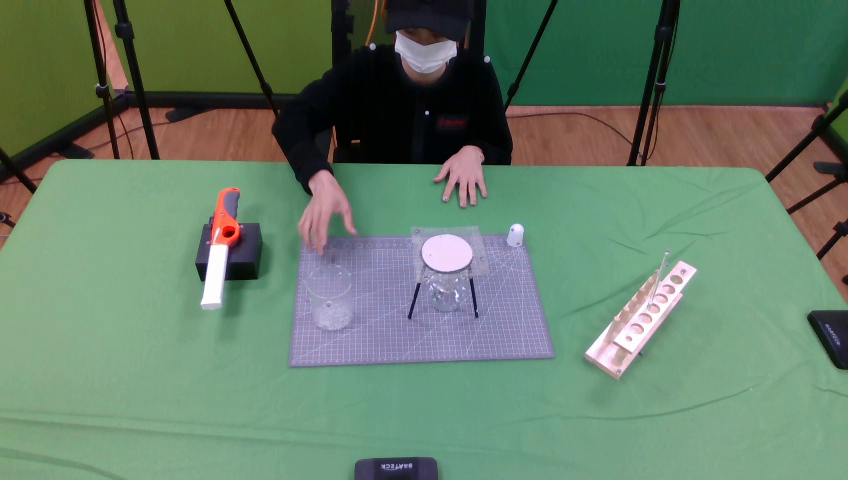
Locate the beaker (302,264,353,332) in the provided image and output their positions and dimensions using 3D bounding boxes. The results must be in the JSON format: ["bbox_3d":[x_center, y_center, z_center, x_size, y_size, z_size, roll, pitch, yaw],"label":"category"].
[{"bbox_3d":[-0.162,0.101,1.030,0.084,0.101,0.073,4,46,0],"label":"beaker"}]

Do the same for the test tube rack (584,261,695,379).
[{"bbox_3d":[0.380,0.127,1.062,0.066,0.085,0.242,34,53,26],"label":"test tube rack"}]

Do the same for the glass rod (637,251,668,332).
[{"bbox_3d":[0.378,0.090,1.005,0.008,0.201,0.008,-1,44,1],"label":"glass rod"}]

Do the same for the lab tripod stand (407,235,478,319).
[{"bbox_3d":[0.032,0.065,1.057,0.148,0.132,0.147,1,45,-1],"label":"lab tripod stand"}]

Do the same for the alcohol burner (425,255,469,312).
[{"bbox_3d":[0.041,0.072,1.065,0.078,0.120,0.077,1,46,-1],"label":"alcohol burner"}]

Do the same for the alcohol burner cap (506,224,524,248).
[{"bbox_3d":[0.183,-0.010,1.206,0.034,0.048,0.033,1,45,-1],"label":"alcohol burner cap"}]

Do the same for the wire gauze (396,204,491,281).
[{"bbox_3d":[0.032,0.004,0.999,0.125,0.011,0.120,-22,54,-14],"label":"wire gauze"}]

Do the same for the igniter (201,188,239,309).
[{"bbox_3d":[-0.367,0.006,1.095,0.057,0.025,0.274,-2,49,-7],"label":"igniter"}]
